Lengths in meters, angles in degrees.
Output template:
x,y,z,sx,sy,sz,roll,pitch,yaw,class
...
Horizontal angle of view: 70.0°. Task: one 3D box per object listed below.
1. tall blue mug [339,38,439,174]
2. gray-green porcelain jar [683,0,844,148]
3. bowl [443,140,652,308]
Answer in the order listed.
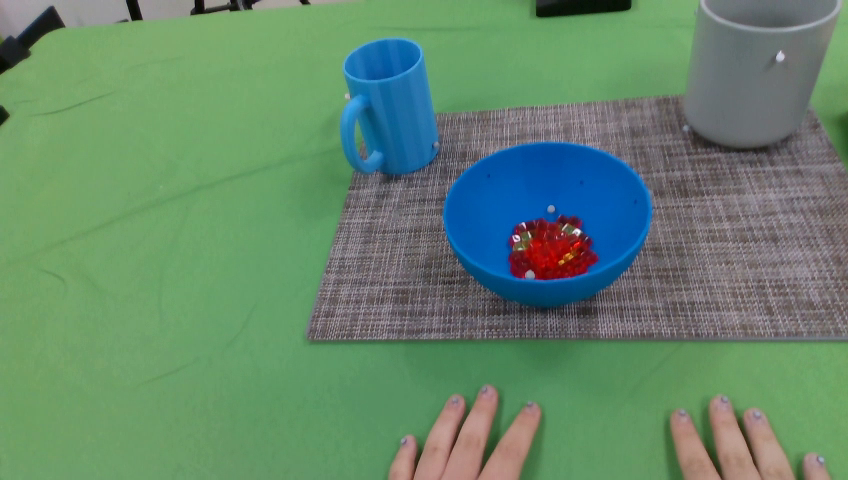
x,y,z,sx,sy,sz,roll,pitch,yaw,class
-0.032,-0.119,0.586,0.077,0.109,0.106,-1,47,10,tall blue mug
0.290,-0.154,0.536,0.106,0.128,0.105,-6,47,7,gray-green porcelain jar
0.094,0.000,0.468,0.151,0.077,0.150,-6,46,7,bowl
